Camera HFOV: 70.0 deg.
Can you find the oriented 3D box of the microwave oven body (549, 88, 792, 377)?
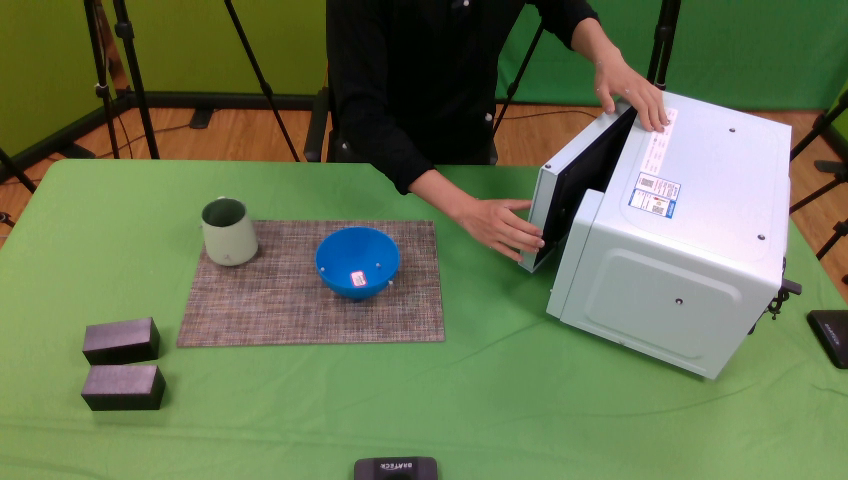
[{"bbox_3d":[0.456,-0.028,1.088,0.325,0.261,0.440,20,47,16],"label":"microwave oven body"}]

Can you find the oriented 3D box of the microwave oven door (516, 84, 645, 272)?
[{"bbox_3d":[0.307,-0.124,1.163,0.039,0.245,0.355,32,52,24],"label":"microwave oven door"}]

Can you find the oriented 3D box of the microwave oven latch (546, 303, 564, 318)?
[{"bbox_3d":[0.242,0.102,1.081,0.030,0.029,0.079,21,48,17],"label":"microwave oven latch"}]

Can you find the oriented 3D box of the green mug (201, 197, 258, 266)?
[{"bbox_3d":[-0.366,-0.025,1.130,0.092,0.105,0.124,-13,48,-16],"label":"green mug"}]

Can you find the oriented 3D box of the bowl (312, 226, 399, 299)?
[{"bbox_3d":[-0.120,0.054,1.091,0.151,0.077,0.150,2,46,-2],"label":"bowl"}]
